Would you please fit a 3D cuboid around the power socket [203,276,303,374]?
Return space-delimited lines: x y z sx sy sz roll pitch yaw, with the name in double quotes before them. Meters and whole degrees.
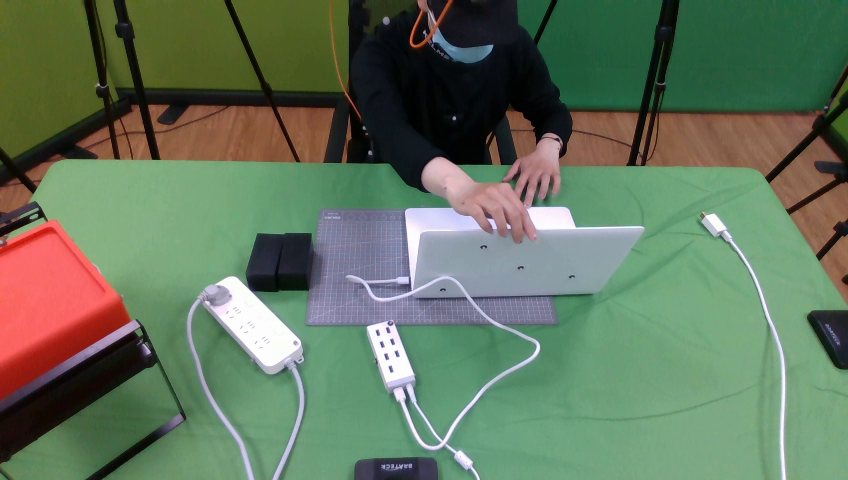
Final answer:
"power socket" -0.296 0.141 1.034 0.072 0.033 0.225 -35 58 -30

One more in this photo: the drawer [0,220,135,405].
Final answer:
"drawer" -0.522 0.093 0.782 0.211 0.073 0.193 -35 58 -30

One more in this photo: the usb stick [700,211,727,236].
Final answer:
"usb stick" 0.606 -0.038 1.273 0.027 0.021 0.059 -18 56 -20

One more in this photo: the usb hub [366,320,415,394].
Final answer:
"usb hub" -0.056 0.192 1.009 0.049 0.025 0.124 -12 49 -16

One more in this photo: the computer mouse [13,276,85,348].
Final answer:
"computer mouse" -0.496 0.090 0.804 0.063 0.041 0.116 -7 42 -7

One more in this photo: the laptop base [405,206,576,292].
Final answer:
"laptop base" 0.143 0.018 1.196 0.355 0.023 0.234 -1 43 -6

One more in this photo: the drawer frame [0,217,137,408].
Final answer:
"drawer frame" -0.523 0.094 0.779 0.200 0.083 0.213 37 55 26

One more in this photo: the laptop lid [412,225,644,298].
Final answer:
"laptop lid" 0.161 0.042 1.013 0.357 0.242 0.013 -1 59 -7

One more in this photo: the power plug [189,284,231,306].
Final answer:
"power plug" -0.368 0.100 1.037 0.072 0.053 0.035 -24 54 -26
